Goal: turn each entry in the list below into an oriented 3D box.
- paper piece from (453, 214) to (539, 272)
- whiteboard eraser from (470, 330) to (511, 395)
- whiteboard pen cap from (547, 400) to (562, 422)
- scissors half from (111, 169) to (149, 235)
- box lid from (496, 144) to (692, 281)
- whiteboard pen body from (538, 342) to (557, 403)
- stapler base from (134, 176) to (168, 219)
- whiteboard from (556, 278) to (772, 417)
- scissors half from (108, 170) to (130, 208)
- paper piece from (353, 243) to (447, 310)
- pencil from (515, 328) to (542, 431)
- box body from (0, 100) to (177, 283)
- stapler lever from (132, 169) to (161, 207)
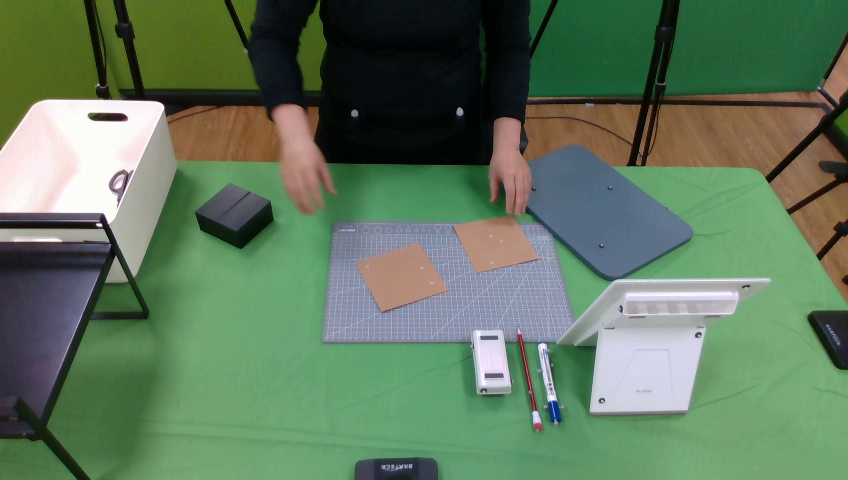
[{"bbox_3d":[0.142,0.003,1.213,0.135,0.004,0.135,-12,47,-14],"label":"paper piece"},{"bbox_3d":[0.110,0.202,0.998,0.055,0.042,0.112,1,46,-5],"label":"whiteboard eraser"},{"bbox_3d":[0.205,0.269,0.956,0.018,0.018,0.033,0,47,-5],"label":"whiteboard pen cap"},{"bbox_3d":[-0.596,-0.079,1.224,0.040,0.013,0.174,6,52,2],"label":"scissors half"},{"bbox_3d":[0.360,-0.074,1.305,0.263,0.015,0.369,-24,52,-25],"label":"box lid"},{"bbox_3d":[0.205,0.228,0.997,0.017,0.017,0.140,1,46,-3],"label":"whiteboard pen body"},{"bbox_3d":[-0.558,-0.093,1.234,0.041,0.024,0.129,1,42,-8],"label":"stapler base"},{"bbox_3d":[0.347,0.174,0.903,0.217,0.306,0.143,1,65,-4],"label":"whiteboard"},{"bbox_3d":[-0.617,-0.078,1.222,0.040,0.013,0.174,-14,53,-8],"label":"scissors half"},{"bbox_3d":[-0.046,0.066,1.137,0.136,0.009,0.137,-13,46,-23],"label":"paper piece"},{"bbox_3d":[0.169,0.224,1.002,0.012,0.012,0.192,-1,46,-6],"label":"pencil"},{"bbox_3d":[-0.639,-0.095,1.140,0.254,0.161,0.361,1,46,-4],"label":"box body"},{"bbox_3d":[-0.557,-0.113,1.218,0.027,0.040,0.117,1,42,-8],"label":"stapler lever"}]
